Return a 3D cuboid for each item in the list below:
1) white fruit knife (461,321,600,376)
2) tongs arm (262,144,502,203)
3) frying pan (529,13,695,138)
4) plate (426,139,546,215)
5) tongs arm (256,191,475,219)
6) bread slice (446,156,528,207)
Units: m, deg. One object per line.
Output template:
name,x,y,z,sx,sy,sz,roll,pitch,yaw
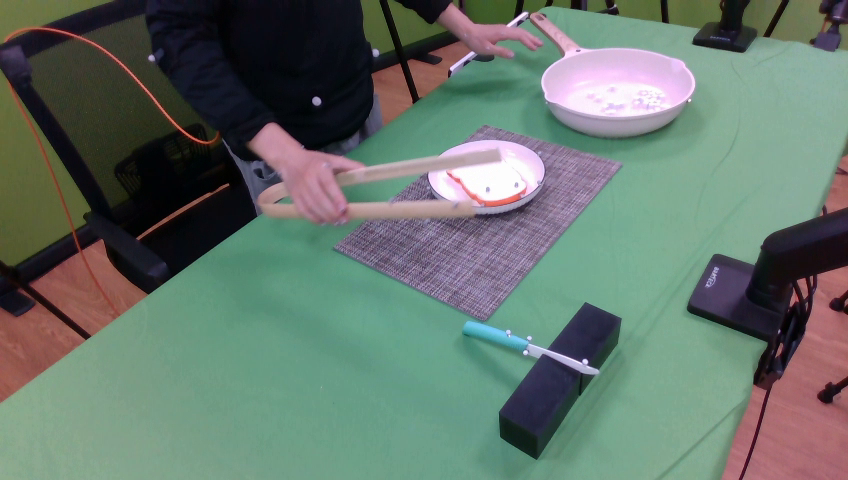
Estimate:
white fruit knife,0.125,0.133,0.752,0.205,0.027,0.016,13,44,42
tongs arm,-0.073,-0.098,0.894,0.386,0.028,0.028,-7,43,23
frying pan,0.348,-0.368,1.282,0.308,0.103,0.484,-16,50,-12
plate,0.109,-0.107,1.058,0.207,0.039,0.206,-4,40,4
tongs arm,-0.097,-0.053,0.847,0.382,0.027,0.051,0,42,30
bread slice,0.118,-0.104,1.057,0.107,0.018,0.133,-24,42,-17
